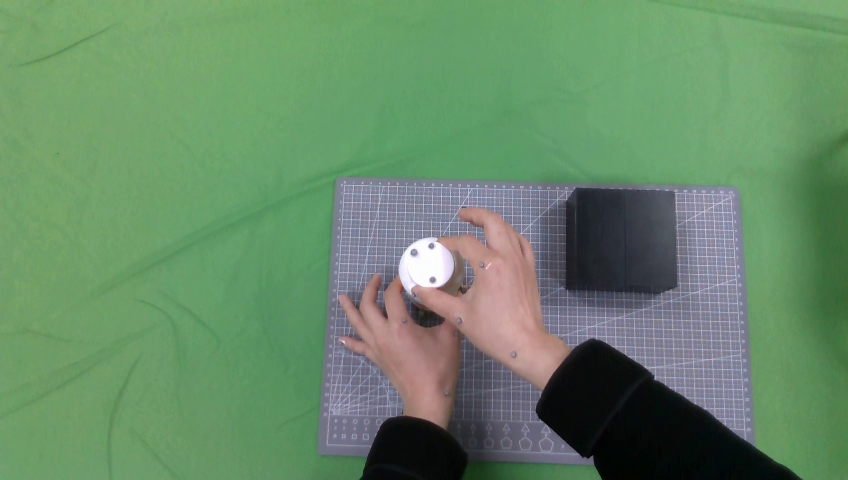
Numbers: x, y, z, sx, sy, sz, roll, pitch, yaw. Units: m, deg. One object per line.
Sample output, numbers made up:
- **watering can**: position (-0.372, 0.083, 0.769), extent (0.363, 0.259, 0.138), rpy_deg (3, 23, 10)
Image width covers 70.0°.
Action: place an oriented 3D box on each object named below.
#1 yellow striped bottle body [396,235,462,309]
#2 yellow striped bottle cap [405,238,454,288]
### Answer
- **yellow striped bottle body**: position (0.006, 0.032, 0.601), extent (0.063, 0.121, 0.062), rpy_deg (0, 78, 1)
- **yellow striped bottle cap**: position (0.005, 0.021, 0.550), extent (0.044, 0.019, 0.044), rpy_deg (-1, 78, 3)
